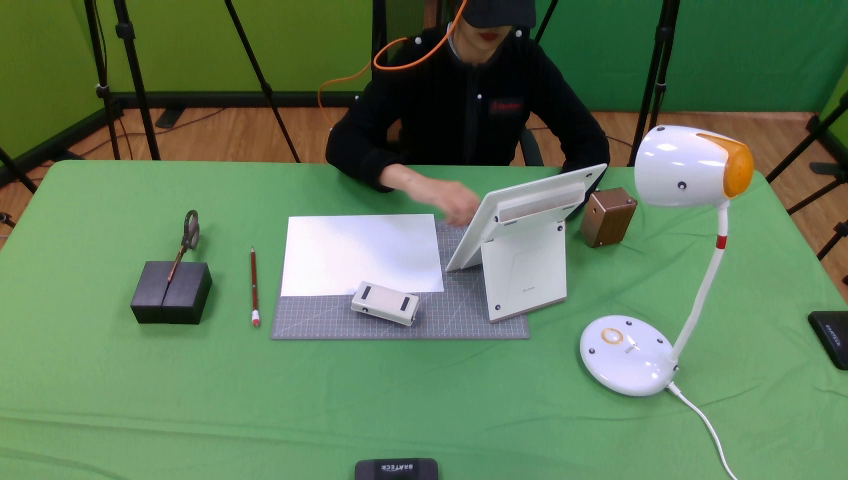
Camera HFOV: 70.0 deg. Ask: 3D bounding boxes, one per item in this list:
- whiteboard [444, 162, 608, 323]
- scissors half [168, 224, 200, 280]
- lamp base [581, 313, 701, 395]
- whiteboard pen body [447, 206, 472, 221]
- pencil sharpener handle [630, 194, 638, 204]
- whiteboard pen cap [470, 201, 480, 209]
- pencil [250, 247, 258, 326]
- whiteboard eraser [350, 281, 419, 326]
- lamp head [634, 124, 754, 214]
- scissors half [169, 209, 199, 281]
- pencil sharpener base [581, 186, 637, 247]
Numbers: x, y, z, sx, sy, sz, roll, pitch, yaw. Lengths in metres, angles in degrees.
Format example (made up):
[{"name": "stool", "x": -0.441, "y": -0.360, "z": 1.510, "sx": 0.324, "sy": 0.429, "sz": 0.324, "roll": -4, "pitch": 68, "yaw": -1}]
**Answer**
[{"name": "whiteboard", "x": 0.186, "y": 0.025, "z": 1.029, "sx": 0.217, "sy": 0.306, "sz": 0.143, "roll": -14, "pitch": 68, "yaw": -17}, {"name": "scissors half", "x": -0.440, "y": 0.023, "z": 1.111, "sx": 0.013, "sy": 0.040, "sz": 0.174, "roll": 7, "pitch": 29, "yaw": -6}, {"name": "lamp base", "x": 0.361, "y": 0.144, "z": 0.973, "sx": 0.178, "sy": 0.181, "sz": 0.160, "roll": 34, "pitch": 53, "yaw": 23}, {"name": "whiteboard pen body", "x": 0.111, "y": -0.039, "z": 1.241, "sx": 0.140, "sy": 0.017, "sz": 0.017, "roll": 23, "pitch": 49, "yaw": 13}, {"name": "pencil sharpener handle", "x": 0.417, "y": -0.068, "z": 1.215, "sx": 0.031, "sy": 0.068, "sz": 0.036, "roll": -11, "pitch": 60, "yaw": -14}, {"name": "whiteboard pen cap", "x": 0.113, "y": -0.073, "z": 1.280, "sx": 0.033, "sy": 0.018, "sz": 0.018, "roll": 4, "pitch": 46, "yaw": 6}, {"name": "pencil", "x": -0.312, "y": 0.079, "z": 1.107, "sx": 0.012, "sy": 0.012, "sz": 0.192, "roll": -7, "pitch": 46, "yaw": -11}, {"name": "whiteboard eraser", "x": -0.069, "y": 0.113, "z": 1.065, "sx": 0.112, "sy": 0.042, "sz": 0.055, "roll": 14, "pitch": 46, "yaw": 9}, {"name": "lamp head", "x": 0.351, "y": -0.089, "z": 0.776, "sx": 0.112, "sy": 0.113, "sz": 0.122, "roll": -30, "pitch": 30, "yaw": -28}, {"name": "scissors half", "x": -0.438, "y": 0.007, "z": 1.098, "sx": 0.013, "sy": 0.040, "sz": 0.174, "roll": 3, "pitch": 48, "yaw": -3}, {"name": "pencil sharpener base", "x": 0.369, "y": -0.047, "z": 1.209, "sx": 0.077, "sy": 0.107, "sz": 0.061, "roll": -11, "pitch": 47, "yaw": -15}]
